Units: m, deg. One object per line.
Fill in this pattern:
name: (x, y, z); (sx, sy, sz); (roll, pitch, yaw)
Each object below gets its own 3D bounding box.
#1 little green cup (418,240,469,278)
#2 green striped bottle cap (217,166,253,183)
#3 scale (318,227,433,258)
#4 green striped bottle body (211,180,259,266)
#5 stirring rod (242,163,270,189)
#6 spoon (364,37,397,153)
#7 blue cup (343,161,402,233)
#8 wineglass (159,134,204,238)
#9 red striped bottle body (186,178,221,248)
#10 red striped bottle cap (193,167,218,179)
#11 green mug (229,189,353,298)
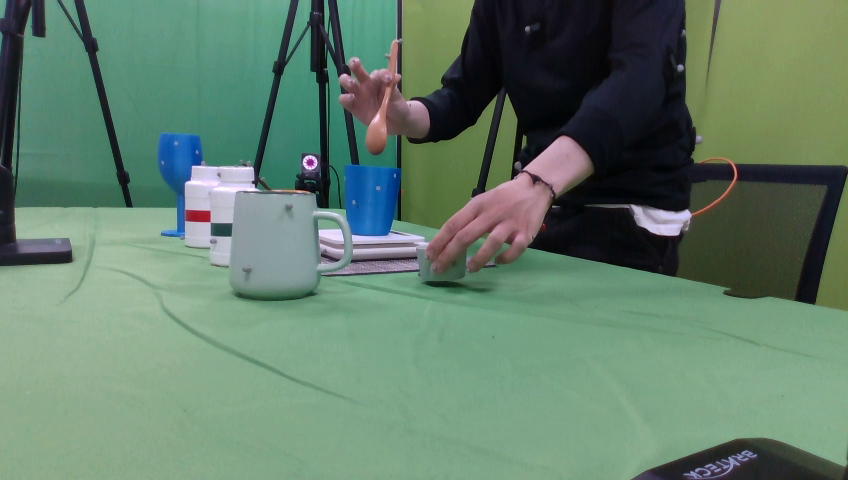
little green cup: (0.023, 0.021, 0.709); (0.061, 0.038, 0.061); (-3, 7, 1)
green striped bottle cap: (-0.242, -0.085, 0.777); (0.044, 0.020, 0.044); (2, 9, 0)
scale: (-0.066, 0.001, 0.906); (0.202, 0.031, 0.148); (-2, 8, -31)
green striped bottle body: (-0.243, -0.029, 0.784); (0.063, 0.119, 0.063); (2, 7, 0)
stirring rod: (-0.298, -0.091, 1.198); (0.014, 0.006, 0.177); (10, -31, 45)
spoon: (-0.060, -0.221, 0.911); (0.041, 0.193, 0.022); (-6, -25, 38)
blue cup: (-0.077, -0.062, 0.883); (0.093, 0.100, 0.092); (3, 6, 0)
wineglass: (-0.415, -0.093, 1.040); (0.074, 0.172, 0.073); (2, 7, 0)
red striped bottle body: (-0.331, -0.050, 0.927); (0.063, 0.119, 0.063); (2, 6, 0)
red striped bottle cap: (-0.329, -0.103, 0.921); (0.044, 0.017, 0.044); (-1, 9, 0)
green mug: (-0.135, 0.002, 0.618); (0.125, 0.105, 0.092); (2, 7, 4)
